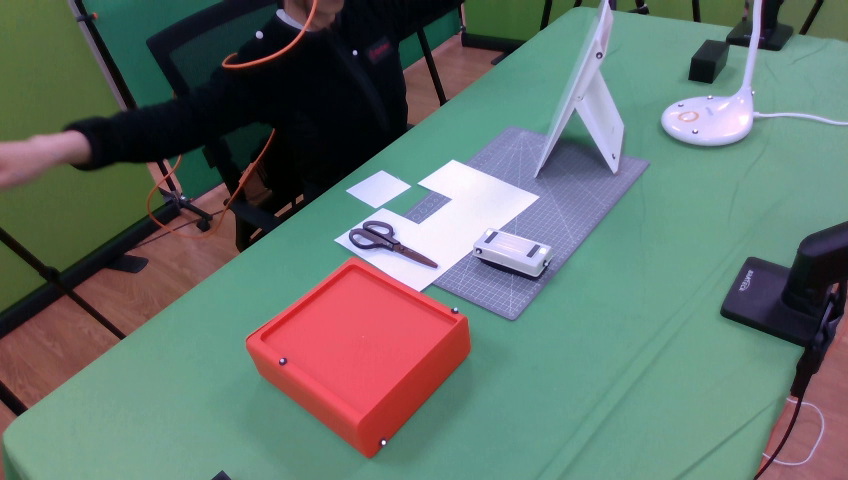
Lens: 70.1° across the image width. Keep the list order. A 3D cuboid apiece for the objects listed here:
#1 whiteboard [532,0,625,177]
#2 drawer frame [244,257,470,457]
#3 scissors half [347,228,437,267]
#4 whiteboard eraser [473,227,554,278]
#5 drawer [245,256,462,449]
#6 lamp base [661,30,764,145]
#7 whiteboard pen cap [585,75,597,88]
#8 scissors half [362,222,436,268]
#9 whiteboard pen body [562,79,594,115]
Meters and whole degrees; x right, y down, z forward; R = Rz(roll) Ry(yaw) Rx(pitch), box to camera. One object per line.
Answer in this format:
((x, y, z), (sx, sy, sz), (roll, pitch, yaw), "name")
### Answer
((0.320, -0.259, 1.050), (0.144, 0.306, 0.217), (21, 45, 5), "whiteboard")
((-0.084, 0.138, 0.788), (0.212, 0.083, 0.202), (25, 50, 33), "drawer frame")
((-0.054, 0.015, 0.974), (0.174, 0.013, 0.040), (19, 37, 24), "scissors half")
((0.134, 0.020, 0.913), (0.112, 0.042, 0.056), (20, 50, 29), "whiteboard eraser")
((-0.089, 0.136, 0.792), (0.210, 0.073, 0.195), (26, 51, 34), "drawer")
((0.535, -0.287, 1.096), (0.179, 0.181, 0.159), (-10, 40, -4), "lamp base")
((0.362, -0.343, 1.310), (0.018, 0.018, 0.033), (19, 54, 29), "whiteboard pen cap")
((-0.040, 0.008, 0.988), (0.040, 0.013, 0.173), (-19, 37, -37), "scissors half")
((0.328, -0.306, 1.277), (0.017, 0.017, 0.141), (20, 52, 30), "whiteboard pen body")
